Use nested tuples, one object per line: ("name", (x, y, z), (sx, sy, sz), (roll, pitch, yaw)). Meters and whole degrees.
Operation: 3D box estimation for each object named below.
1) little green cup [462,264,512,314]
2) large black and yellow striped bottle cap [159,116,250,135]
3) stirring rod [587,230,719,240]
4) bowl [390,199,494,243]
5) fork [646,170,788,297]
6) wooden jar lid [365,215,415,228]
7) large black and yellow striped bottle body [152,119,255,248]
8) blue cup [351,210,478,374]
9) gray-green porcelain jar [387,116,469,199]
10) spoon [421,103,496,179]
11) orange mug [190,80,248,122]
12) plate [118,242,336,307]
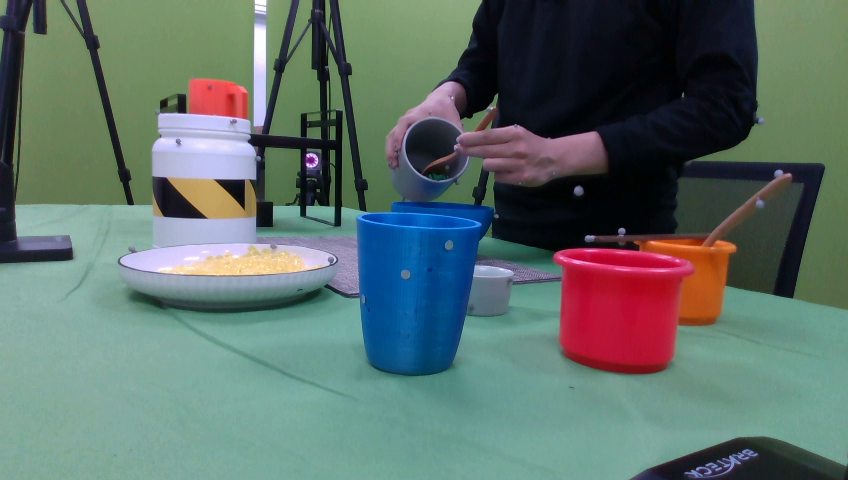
("little green cup", (0.053, 0.047, 0.580), (0.061, 0.038, 0.061), (3, 8, 0))
("large black and yellow striped bottle cap", (-0.292, -0.153, 0.810), (0.115, 0.019, 0.115), (3, 8, 0))
("stirring rod", (0.226, -0.005, 0.587), (0.177, 0.006, 0.014), (-2, 9, -29))
("bowl", (0.024, -0.015, 0.871), (0.151, 0.077, 0.151), (3, 7, 0))
("fork", (0.256, 0.004, 0.543), (0.028, 0.018, 0.207), (3, -36, -9))
("wooden jar lid", (-0.072, -0.040, 1.291), (0.108, 0.020, 0.108), (3, 8, 0))
("large black and yellow striped bottle body", (-0.296, -0.070, 0.819), (0.131, 0.184, 0.130), (2, 7, 0))
("blue cup", (-0.009, 0.034, 0.414), (0.093, 0.100, 0.092), (4, 8, 0))
("gray-green porcelain jar", (0.001, -0.123, 0.956), (0.106, 0.105, 0.126), (0, -12, -16))
("spoon", (0.049, -0.132, 0.855), (0.042, 0.021, 0.193), (2, -23, -30))
("orange mug", (-0.394, -0.257, 1.172), (0.126, 0.100, 0.084), (1, 6, 25))
("plate", (-0.194, 0.033, 0.615), (0.209, 0.038, 0.209), (2, 7, 0))
